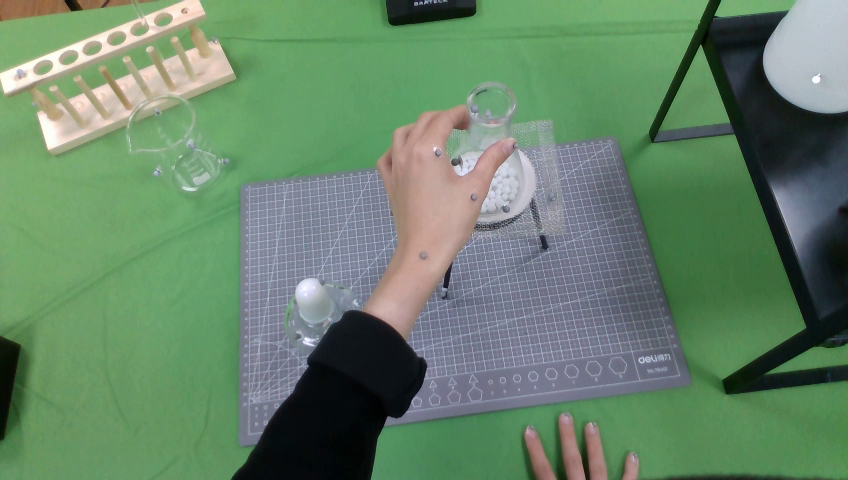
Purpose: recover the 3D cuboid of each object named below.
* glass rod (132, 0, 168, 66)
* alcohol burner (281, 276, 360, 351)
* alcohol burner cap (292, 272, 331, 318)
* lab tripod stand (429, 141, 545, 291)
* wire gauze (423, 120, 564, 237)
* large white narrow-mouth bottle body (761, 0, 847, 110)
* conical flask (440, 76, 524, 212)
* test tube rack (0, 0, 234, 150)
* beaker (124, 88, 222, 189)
[{"bbox_3d":[-0.329,-0.271,0.695,0.008,0.201,0.008,1,63,-2],"label":"glass rod"},{"bbox_3d":[-0.103,0.065,0.589,0.078,0.120,0.077,0,64,1],"label":"alcohol burner"},{"bbox_3d":[-0.105,0.048,0.557,0.034,0.048,0.033,0,59,0],"label":"alcohol burner cap"},{"bbox_3d":[0.057,-0.029,0.613,0.148,0.132,0.147,0,64,1],"label":"lab tripod stand"},{"bbox_3d":[0.061,-0.061,0.555,0.121,0.011,0.124,-2,63,-1],"label":"wire gauze"},{"bbox_3d":[0.340,-0.192,0.448,0.102,0.196,0.101,-1,63,2],"label":"large white narrow-mouth bottle body"},{"bbox_3d":[0.050,-0.081,0.499,0.075,0.123,0.075,-1,65,2],"label":"conical flask"},{"bbox_3d":[-0.370,-0.206,0.740,0.242,0.086,0.066,-26,67,-9],"label":"test tube rack"},{"bbox_3d":[-0.281,-0.107,0.685,0.073,0.101,0.084,37,72,18],"label":"beaker"}]
